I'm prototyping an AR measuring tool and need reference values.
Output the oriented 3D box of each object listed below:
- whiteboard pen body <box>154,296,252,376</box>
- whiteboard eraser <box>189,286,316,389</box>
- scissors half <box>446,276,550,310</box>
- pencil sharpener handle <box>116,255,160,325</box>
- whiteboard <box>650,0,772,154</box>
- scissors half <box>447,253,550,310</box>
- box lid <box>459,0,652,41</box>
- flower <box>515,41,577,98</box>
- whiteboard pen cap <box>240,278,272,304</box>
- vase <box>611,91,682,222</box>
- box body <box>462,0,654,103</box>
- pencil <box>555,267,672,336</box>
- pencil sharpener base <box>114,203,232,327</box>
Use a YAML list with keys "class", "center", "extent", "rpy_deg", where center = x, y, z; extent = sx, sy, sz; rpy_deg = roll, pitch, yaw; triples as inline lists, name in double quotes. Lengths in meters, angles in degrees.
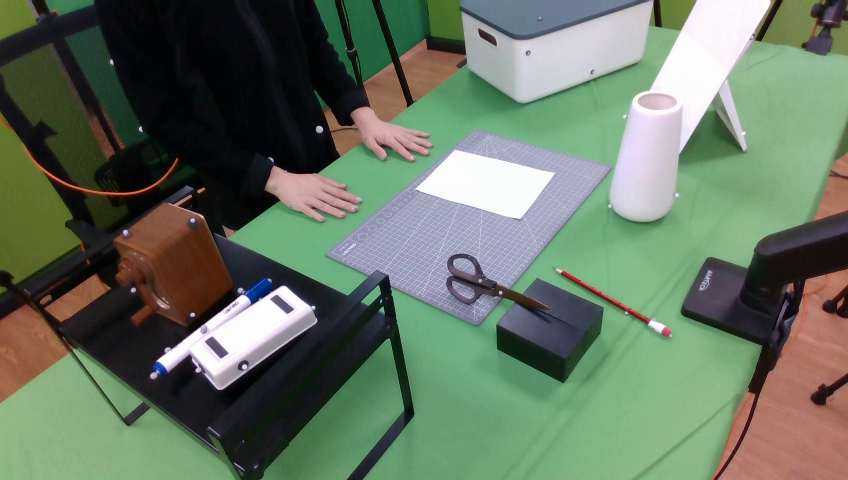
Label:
- class: "whiteboard pen body"
  center: [-0.215, 0.088, 0.619]
  extent: [0.017, 0.017, 0.141]
  rpy_deg: [19, 42, 28]
- class: "whiteboard eraser"
  center: [-0.166, 0.096, 0.593]
  extent: [0.113, 0.042, 0.055]
  rpy_deg: [-36, 46, -29]
- class: "scissors half"
  center: [0.098, 0.077, 0.827]
  extent: [0.174, 0.040, 0.013]
  rpy_deg: [6, 14, 44]
- class: "pencil sharpener handle"
  center: [-0.286, 0.050, 0.594]
  extent: [0.035, 0.068, 0.031]
  rpy_deg: [7, 41, 35]
- class: "whiteboard"
  center: [0.543, -0.298, 1.076]
  extent: [0.144, 0.305, 0.216]
  rpy_deg: [12, 40, -7]
- class: "scissors half"
  center: [0.098, 0.058, 0.821]
  extent: [0.173, 0.040, 0.013]
  rpy_deg: [27, 33, 37]
- class: "box lid"
  center: [0.291, -0.524, 1.327]
  extent: [0.373, 0.015, 0.261]
  rpy_deg: [-23, 43, -18]
- class: "flower"
  center: [0.298, -0.410, 1.413]
  extent: [0.044, 0.038, 0.362]
  rpy_deg: [-16, 22, 41]
- class: "whiteboard pen cap"
  center: [-0.183, 0.057, 0.658]
  extent: [0.018, 0.018, 0.033]
  rpy_deg: [19, 44, 28]
- class: "vase"
  center: [0.348, -0.125, 0.936]
  extent: [0.098, 0.201, 0.097]
  rpy_deg: [-3, 40, 3]
- class: "box body"
  center: [0.298, -0.468, 1.374]
  extent: [0.365, 0.161, 0.252]
  rpy_deg: [-23, 42, -18]
- class: "pencil"
  center: [0.260, 0.082, 0.850]
  extent: [0.012, 0.012, 0.192]
  rpy_deg: [-33, 46, -27]
- class: "pencil sharpener base"
  center: [-0.262, 0.029, 0.635]
  extent: [0.061, 0.107, 0.077]
  rpy_deg: [18, 47, 26]
